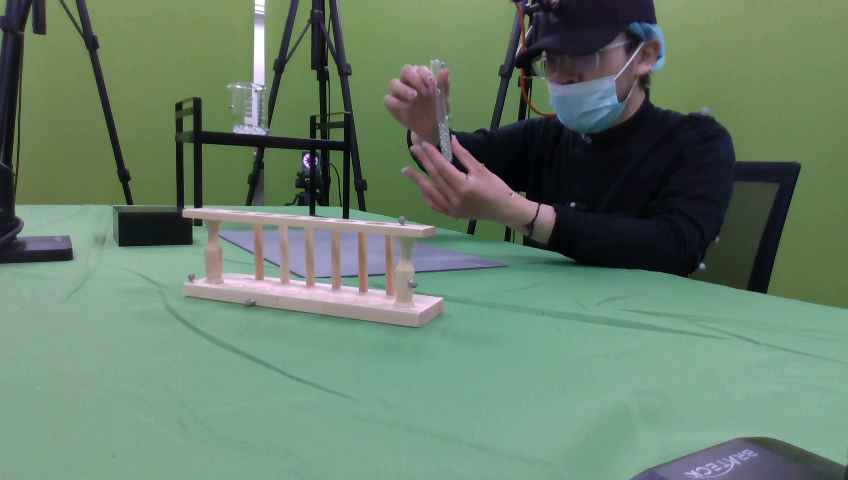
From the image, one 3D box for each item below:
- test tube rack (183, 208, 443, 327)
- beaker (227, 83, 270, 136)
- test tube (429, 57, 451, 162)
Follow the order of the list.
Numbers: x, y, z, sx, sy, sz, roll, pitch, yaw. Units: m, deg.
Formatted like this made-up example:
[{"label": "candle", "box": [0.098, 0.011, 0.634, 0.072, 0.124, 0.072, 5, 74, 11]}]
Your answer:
[{"label": "test tube rack", "box": [-0.106, 0.019, 0.570, 0.241, 0.085, 0.067, 5, 8, 19]}, {"label": "beaker", "box": [-0.354, -0.262, 1.224, 0.084, 0.100, 0.073, -2, 8, -28]}, {"label": "test tube", "box": [0.023, -0.187, 0.870, 0.017, 0.150, 0.017, -7, 4, 1]}]
